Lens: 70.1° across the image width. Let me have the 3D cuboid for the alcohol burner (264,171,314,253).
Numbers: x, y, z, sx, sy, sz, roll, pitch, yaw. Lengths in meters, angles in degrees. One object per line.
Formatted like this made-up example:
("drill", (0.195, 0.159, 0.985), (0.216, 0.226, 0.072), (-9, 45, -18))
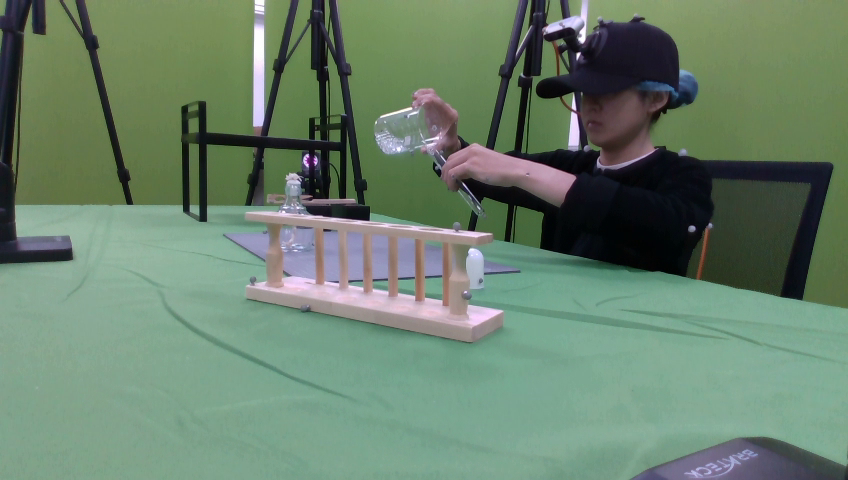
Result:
("alcohol burner", (-0.194, -0.042, 0.888), (0.078, 0.119, 0.078), (3, 5, 0))

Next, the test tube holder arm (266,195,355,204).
("test tube holder arm", (-0.222, -0.081, 1.196), (0.179, 0.013, 0.015), (-4, 3, -30))

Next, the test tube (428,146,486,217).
("test tube", (0.052, -0.095, 0.971), (0.017, 0.017, 0.149), (-7, 54, -51))

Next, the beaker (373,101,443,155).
("beaker", (-0.029, -0.183, 1.027), (0.100, 0.084, 0.074), (-6, -6, 34))

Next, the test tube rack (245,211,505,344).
("test tube rack", (-0.049, 0.025, 0.547), (0.241, 0.085, 0.067), (7, 8, 29))

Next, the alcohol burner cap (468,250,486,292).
("alcohol burner cap", (0.056, 0.035, 0.690), (0.034, 0.048, 0.034), (2, 7, 0))

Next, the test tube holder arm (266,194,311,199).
("test tube holder arm", (-0.262, -0.084, 1.173), (0.088, 0.010, 0.015), (-3, 2, -30))
